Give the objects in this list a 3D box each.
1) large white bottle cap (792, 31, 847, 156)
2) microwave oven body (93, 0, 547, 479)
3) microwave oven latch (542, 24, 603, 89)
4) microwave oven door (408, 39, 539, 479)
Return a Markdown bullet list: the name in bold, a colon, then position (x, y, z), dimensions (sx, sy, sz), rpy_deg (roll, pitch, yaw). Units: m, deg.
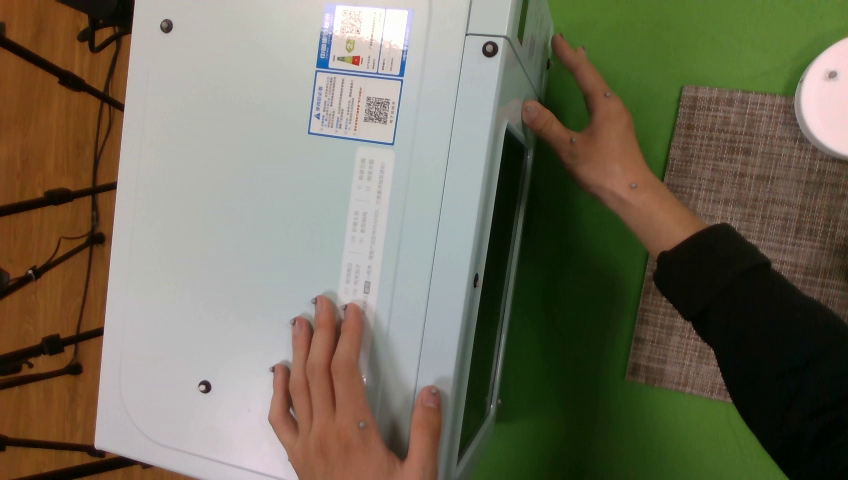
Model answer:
- **large white bottle cap**: position (0.398, -0.133, 0.546), dimensions (0.114, 0.018, 0.115), rpy_deg (0, 92, 16)
- **microwave oven body**: position (-0.086, -0.027, 0.566), dimensions (0.325, 0.261, 0.442), rpy_deg (9, 96, 15)
- **microwave oven latch**: position (0.135, -0.181, 0.595), dimensions (0.079, 0.029, 0.030), rpy_deg (40, 104, 10)
- **microwave oven door**: position (0.046, 0.036, 0.526), dimensions (0.039, 0.244, 0.356), rpy_deg (9, 95, 16)
